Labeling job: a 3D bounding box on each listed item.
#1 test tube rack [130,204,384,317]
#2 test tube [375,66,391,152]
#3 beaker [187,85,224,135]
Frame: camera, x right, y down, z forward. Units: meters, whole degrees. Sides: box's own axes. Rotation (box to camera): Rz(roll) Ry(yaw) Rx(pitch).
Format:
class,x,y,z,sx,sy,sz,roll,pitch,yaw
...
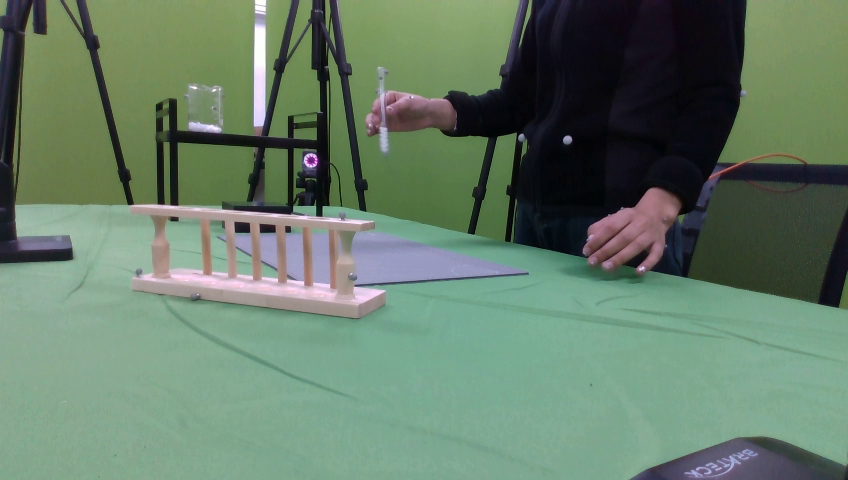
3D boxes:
class,x,y,z,sx,sy,sz,roll,pitch,yaw
test tube rack,-0.162,0.013,0.589,0.242,0.085,0.067,5,8,17
test tube,-0.072,-0.228,1.055,0.017,0.150,0.017,-6,-2,0
beaker,-0.466,-0.276,1.296,0.074,0.100,0.083,-3,10,-35
